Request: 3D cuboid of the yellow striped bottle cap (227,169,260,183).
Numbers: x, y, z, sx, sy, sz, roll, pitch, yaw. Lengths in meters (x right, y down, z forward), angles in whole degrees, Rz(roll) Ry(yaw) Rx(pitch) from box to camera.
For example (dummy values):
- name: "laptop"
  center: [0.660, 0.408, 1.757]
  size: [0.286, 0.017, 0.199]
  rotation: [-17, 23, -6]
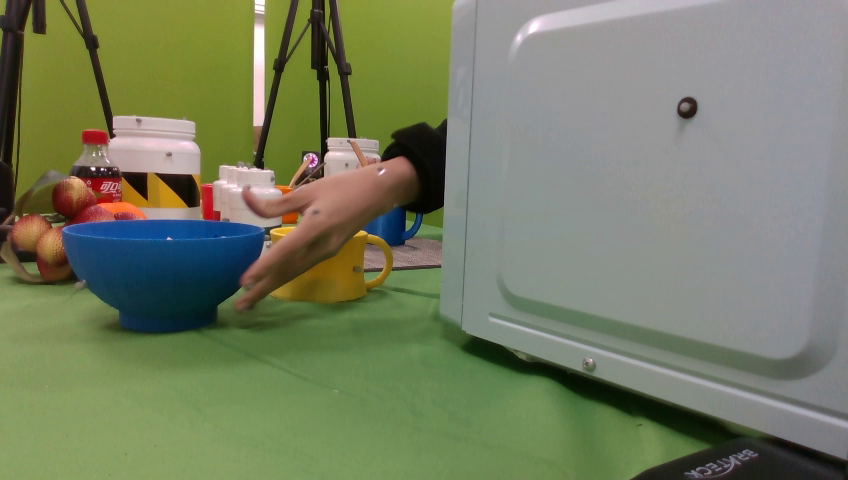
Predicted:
- name: "yellow striped bottle cap"
  center: [-0.243, -0.086, 0.818]
  size: [0.044, 0.018, 0.044]
  rotation: [3, 7, 0]

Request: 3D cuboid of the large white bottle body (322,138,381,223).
- name: "large white bottle body"
  center: [-0.163, -0.135, 1.368]
  size: [0.131, 0.184, 0.130]
  rotation: [2, 7, 0]

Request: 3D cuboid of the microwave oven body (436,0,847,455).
- name: "microwave oven body"
  center: [0.279, -0.040, 0.464]
  size: [0.444, 0.260, 0.324]
  rotation: [-3, 9, -41]

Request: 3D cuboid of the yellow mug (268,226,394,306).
- name: "yellow mug"
  center: [-0.094, 0.024, 0.630]
  size: [0.131, 0.064, 0.099]
  rotation: [0, 10, -22]

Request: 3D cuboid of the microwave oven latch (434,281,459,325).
- name: "microwave oven latch"
  center: [0.044, 0.045, 0.470]
  size: [0.079, 0.029, 0.030]
  rotation: [-3, 8, -40]

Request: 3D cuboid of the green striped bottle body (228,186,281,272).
- name: "green striped bottle body"
  center: [-0.208, -0.023, 0.745]
  size: [0.063, 0.119, 0.063]
  rotation: [3, 7, 0]

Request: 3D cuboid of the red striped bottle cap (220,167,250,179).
- name: "red striped bottle cap"
  center: [-0.282, -0.100, 0.901]
  size: [0.044, 0.017, 0.044]
  rotation: [0, 5, 0]

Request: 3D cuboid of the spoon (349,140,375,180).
- name: "spoon"
  center: [-0.088, -0.093, 1.027]
  size: [0.042, 0.193, 0.021]
  rotation: [-3, -27, -44]

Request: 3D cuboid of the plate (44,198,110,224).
- name: "plate"
  center: [-0.617, -0.056, 1.179]
  size: [0.209, 0.038, 0.209]
  rotation: [3, 7, 0]

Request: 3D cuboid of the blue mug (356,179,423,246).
- name: "blue mug"
  center: [-0.056, -0.046, 1.005]
  size: [0.116, 0.106, 0.082]
  rotation: [6, 8, 22]

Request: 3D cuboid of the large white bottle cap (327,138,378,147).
- name: "large white bottle cap"
  center: [-0.160, -0.218, 1.357]
  size: [0.115, 0.018, 0.115]
  rotation: [2, 8, 0]

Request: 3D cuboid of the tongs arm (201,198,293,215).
- name: "tongs arm"
  center: [-0.423, -0.084, 1.473]
  size: [0.050, 0.026, 0.386]
  rotation: [2, 6, 21]

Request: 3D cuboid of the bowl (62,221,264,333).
- name: "bowl"
  center: [-0.209, 0.029, 0.496]
  size: [0.151, 0.077, 0.151]
  rotation: [2, 7, 0]

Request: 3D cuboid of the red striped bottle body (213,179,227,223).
- name: "red striped bottle body"
  center: [-0.284, -0.048, 0.909]
  size: [0.063, 0.119, 0.063]
  rotation: [3, 10, 0]

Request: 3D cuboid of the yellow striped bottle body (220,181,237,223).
- name: "yellow striped bottle body"
  center: [-0.246, -0.036, 0.825]
  size: [0.063, 0.120, 0.063]
  rotation: [3, 8, 0]

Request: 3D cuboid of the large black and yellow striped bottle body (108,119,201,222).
- name: "large black and yellow striped bottle body"
  center: [-0.412, -0.088, 0.930]
  size: [0.131, 0.184, 0.130]
  rotation: [3, 7, 0]

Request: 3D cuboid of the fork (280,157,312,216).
- name: "fork"
  center: [-0.289, -0.116, 1.321]
  size: [0.028, 0.019, 0.207]
  rotation: [5, 51, 20]

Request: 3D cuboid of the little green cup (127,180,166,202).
- name: "little green cup"
  center: [-0.486, -0.086, 1.061]
  size: [0.061, 0.038, 0.061]
  rotation: [1, 7, 0]

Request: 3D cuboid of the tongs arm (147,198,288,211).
- name: "tongs arm"
  center: [-0.503, -0.090, 1.513]
  size: [0.028, 0.028, 0.389]
  rotation: [-1, 3, 38]

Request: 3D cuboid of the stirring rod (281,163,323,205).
- name: "stirring rod"
  center: [-0.278, -0.104, 1.293]
  size: [0.176, 0.006, 0.014]
  rotation: [-47, 24, -18]

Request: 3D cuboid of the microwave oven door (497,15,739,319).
- name: "microwave oven door"
  center: [0.215, -0.065, 0.602]
  size: [0.358, 0.243, 0.039]
  rotation: [-4, 11, -41]

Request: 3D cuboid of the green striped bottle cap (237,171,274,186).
- name: "green striped bottle cap"
  center: [-0.206, -0.075, 0.738]
  size: [0.044, 0.020, 0.044]
  rotation: [2, 8, 0]

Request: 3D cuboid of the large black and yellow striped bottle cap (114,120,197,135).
- name: "large black and yellow striped bottle cap"
  center: [-0.407, -0.171, 0.920]
  size: [0.115, 0.019, 0.115]
  rotation: [2, 9, 0]
